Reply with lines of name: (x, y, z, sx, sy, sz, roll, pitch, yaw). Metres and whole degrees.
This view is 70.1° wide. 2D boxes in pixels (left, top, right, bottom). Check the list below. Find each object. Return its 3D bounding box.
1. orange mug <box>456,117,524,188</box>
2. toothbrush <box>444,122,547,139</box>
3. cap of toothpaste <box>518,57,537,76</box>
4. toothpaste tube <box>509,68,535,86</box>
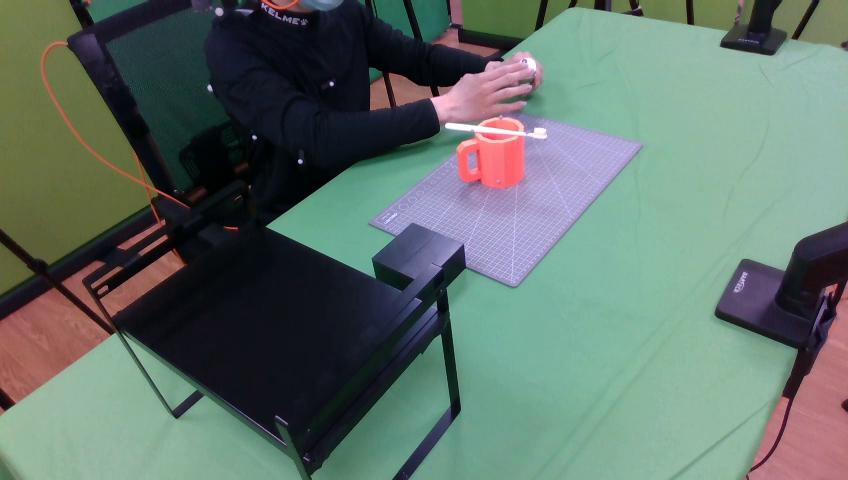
orange mug: (0.117, -0.152, 1.071, 0.127, 0.101, 0.083, -14, 41, -15)
toothbrush: (0.121, -0.190, 1.034, 0.181, 0.017, 0.014, 10, 46, 18)
cap of toothpaste: (0.200, -0.335, 1.170, 0.037, 0.037, 0.011, -7, 6, 0)
toothpaste tube: (0.209, -0.339, 1.250, 0.055, 0.034, 0.165, 1, 4, 4)
